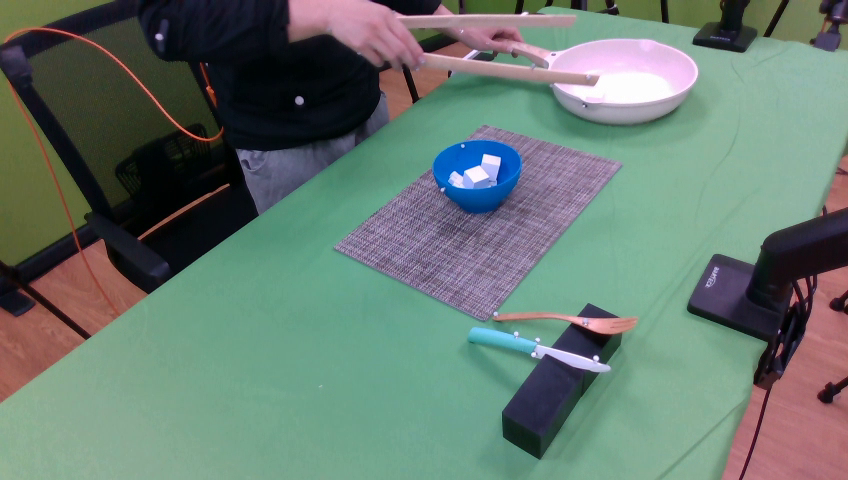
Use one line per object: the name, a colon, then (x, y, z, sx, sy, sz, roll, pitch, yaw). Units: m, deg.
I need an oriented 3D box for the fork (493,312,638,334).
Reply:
fork: (0.173, 0.103, 0.774, 0.206, 0.019, 0.028, 0, 41, 40)

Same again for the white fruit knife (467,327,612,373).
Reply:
white fruit knife: (0.134, 0.134, 0.742, 0.205, 0.027, 0.016, 7, 34, 41)

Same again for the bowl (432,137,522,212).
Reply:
bowl: (0.091, -0.100, 1.021, 0.151, 0.077, 0.150, -4, 41, 4)

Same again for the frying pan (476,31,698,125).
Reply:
frying pan: (0.320, -0.371, 1.290, 0.484, 0.103, 0.307, 28, 51, 23)

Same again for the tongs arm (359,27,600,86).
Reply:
tongs arm: (0.092, -0.285, 0.948, 0.386, 0.026, 0.050, 2, 63, -13)

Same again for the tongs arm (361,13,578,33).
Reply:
tongs arm: (0.081, -0.353, 0.984, 0.390, 0.028, 0.028, -9, 69, -19)
